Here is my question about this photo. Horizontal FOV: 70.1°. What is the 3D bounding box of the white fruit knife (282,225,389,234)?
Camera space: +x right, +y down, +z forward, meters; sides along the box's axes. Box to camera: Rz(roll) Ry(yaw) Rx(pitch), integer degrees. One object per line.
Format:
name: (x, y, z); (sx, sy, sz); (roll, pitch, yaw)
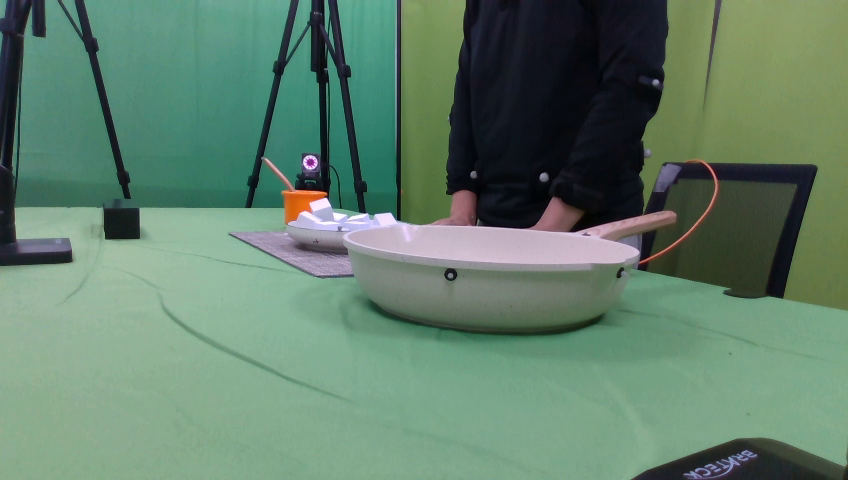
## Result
white fruit knife: (-0.162, -0.018, 1.120); (0.208, 0.016, 0.027); (-3, 5, -34)

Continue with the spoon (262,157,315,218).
spoon: (-0.276, -0.103, 1.251); (0.021, 0.193, 0.042); (-43, -15, 22)

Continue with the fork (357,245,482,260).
fork: (0.000, 0.017, 0.866); (0.208, 0.018, 0.028); (-4, -1, -33)

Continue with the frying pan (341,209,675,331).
frying pan: (0.144, 0.008, 0.677); (0.490, 0.102, 0.305); (-13, 16, -36)

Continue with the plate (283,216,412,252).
plate: (-0.119, -0.009, 0.968); (0.208, 0.039, 0.207); (2, 7, 0)
